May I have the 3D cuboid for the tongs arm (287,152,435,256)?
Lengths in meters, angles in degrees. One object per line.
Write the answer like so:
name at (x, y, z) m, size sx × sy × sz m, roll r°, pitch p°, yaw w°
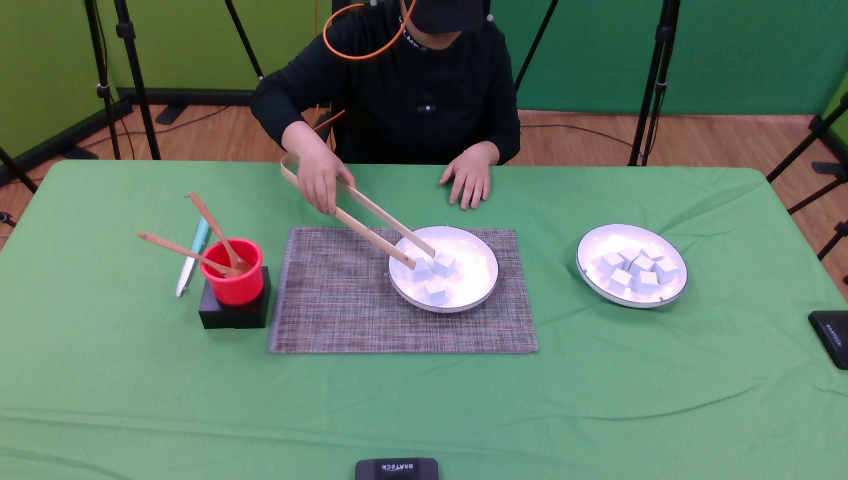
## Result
tongs arm at (-0.129, -0.077, 1.179) m, size 0.386 × 0.028 × 0.028 m, roll 34°, pitch 56°, yaw 24°

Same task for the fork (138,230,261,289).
fork at (-0.360, 0.032, 0.981) m, size 0.208 × 0.018 × 0.028 m, roll 31°, pitch 60°, yaw -30°

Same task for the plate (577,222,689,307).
plate at (0.396, 0.050, 1.165) m, size 0.209 × 0.038 × 0.208 m, roll 2°, pitch 47°, yaw -2°

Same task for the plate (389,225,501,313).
plate at (0.038, 0.057, 1.129) m, size 0.208 × 0.039 × 0.206 m, roll 2°, pitch 46°, yaw -2°

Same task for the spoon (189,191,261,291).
spoon at (-0.333, 0.001, 1.012) m, size 0.041 × 0.194 × 0.021 m, roll -34°, pitch 15°, yaw -25°

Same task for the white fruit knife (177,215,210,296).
white fruit knife at (-0.435, 0.025, 1.148) m, size 0.027 × 0.016 × 0.206 m, roll -18°, pitch 45°, yaw 18°

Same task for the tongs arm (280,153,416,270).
tongs arm at (-0.150, -0.061, 1.161) m, size 0.383 × 0.026 × 0.050 m, roll 33°, pitch 51°, yaw 23°
